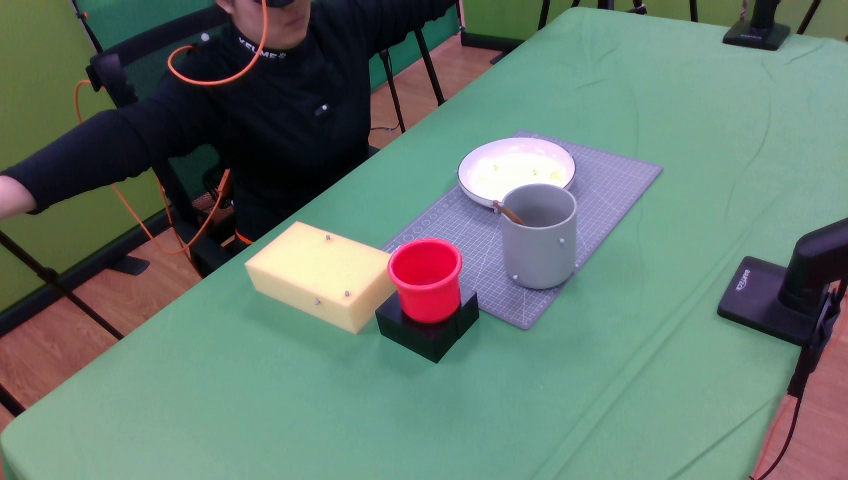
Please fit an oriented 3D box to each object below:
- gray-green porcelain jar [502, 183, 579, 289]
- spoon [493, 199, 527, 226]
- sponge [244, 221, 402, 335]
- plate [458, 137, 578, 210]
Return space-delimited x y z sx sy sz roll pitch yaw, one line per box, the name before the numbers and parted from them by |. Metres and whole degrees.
gray-green porcelain jar | 0.166 -0.001 0.866 0.106 0.127 0.105 -5 40 5
spoon | 0.135 -0.016 0.831 0.021 0.195 0.041 -49 53 -1
sponge | -0.153 0.053 0.919 0.205 0.061 0.118 18 47 28
plate | 0.165 -0.113 1.068 0.207 0.039 0.206 -5 40 5
